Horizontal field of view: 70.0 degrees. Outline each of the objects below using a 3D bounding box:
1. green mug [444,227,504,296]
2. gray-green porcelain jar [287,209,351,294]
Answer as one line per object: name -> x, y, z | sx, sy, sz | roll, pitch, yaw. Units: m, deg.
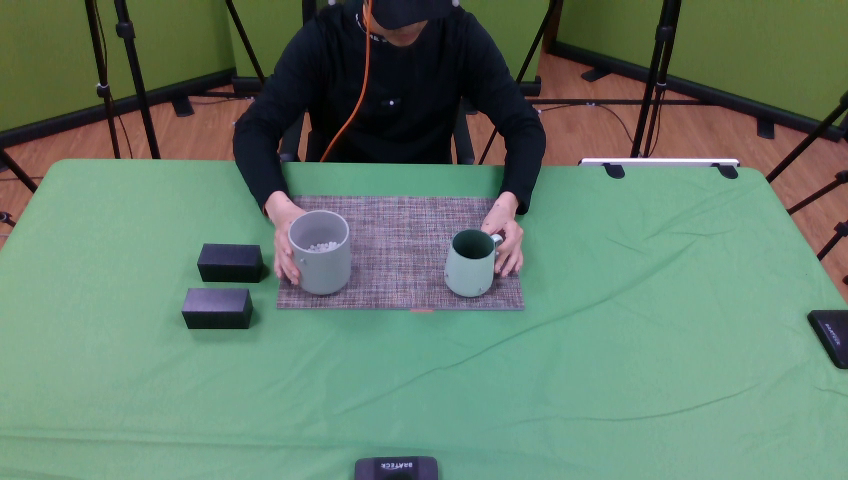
green mug -> 0.097, 0.033, 1.110 | 0.125, 0.105, 0.092 | -31, 55, -29
gray-green porcelain jar -> -0.184, 0.026, 1.080 | 0.106, 0.127, 0.105 | 2, 47, -2
